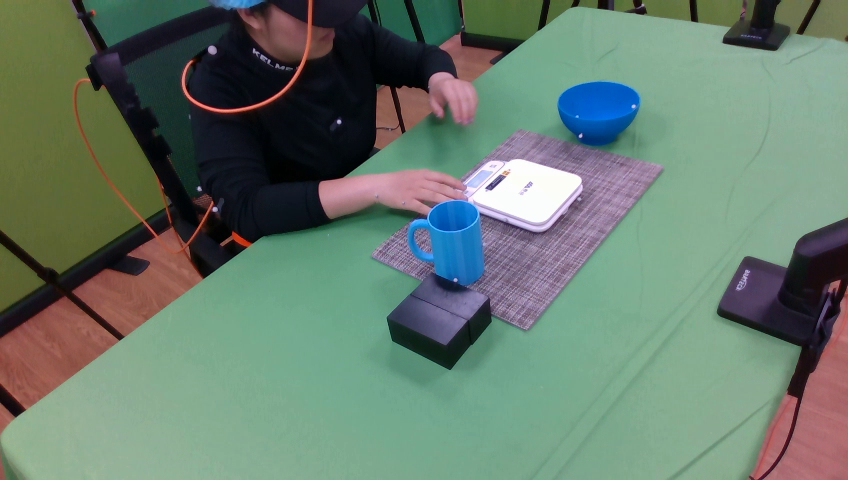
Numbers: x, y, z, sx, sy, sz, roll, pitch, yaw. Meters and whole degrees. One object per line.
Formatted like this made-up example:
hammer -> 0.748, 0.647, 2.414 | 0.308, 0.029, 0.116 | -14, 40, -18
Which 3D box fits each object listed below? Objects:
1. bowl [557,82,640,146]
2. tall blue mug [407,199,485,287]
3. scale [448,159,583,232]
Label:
bowl -> 0.330, -0.233, 1.152 | 0.151, 0.077, 0.150 | -5, 40, 5
tall blue mug -> 0.034, 0.008, 0.892 | 0.107, 0.108, 0.077 | -13, 41, -5
scale -> 0.156, -0.085, 1.040 | 0.199, 0.032, 0.149 | 22, 49, 32
